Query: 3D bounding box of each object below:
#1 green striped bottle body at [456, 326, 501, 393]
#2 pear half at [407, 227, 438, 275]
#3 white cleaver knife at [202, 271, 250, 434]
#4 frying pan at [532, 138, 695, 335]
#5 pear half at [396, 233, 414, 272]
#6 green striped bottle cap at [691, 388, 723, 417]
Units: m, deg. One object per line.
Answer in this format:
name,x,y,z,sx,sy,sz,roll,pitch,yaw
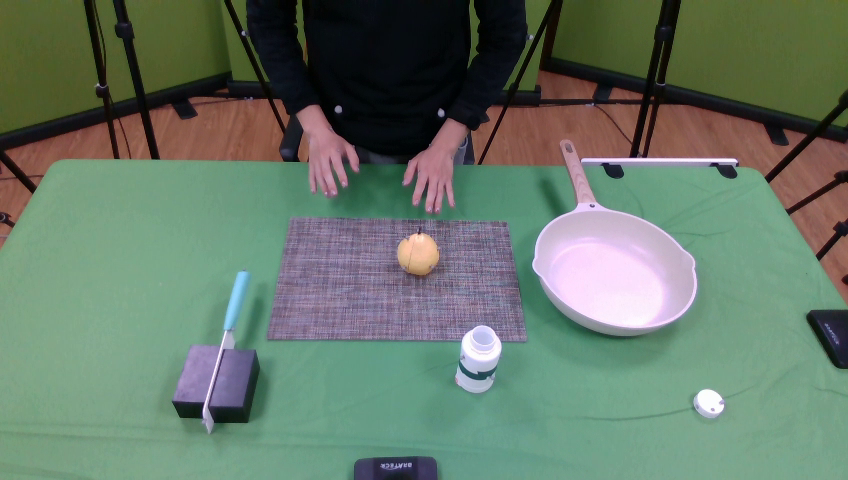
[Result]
green striped bottle body,0.086,0.185,0.959,0.063,0.120,0.063,2,46,-2
pear half,0.000,0.016,1.117,0.056,0.110,0.076,4,51,0
white cleaver knife,-0.322,0.168,0.980,0.021,0.066,0.284,7,48,-6
frying pan,0.336,-0.024,1.190,0.307,0.103,0.484,-2,55,-7
pear half,-0.036,0.019,1.125,0.031,0.088,0.070,5,50,-1
green striped bottle cap,0.460,0.263,0.984,0.044,0.020,0.044,3,46,-3
